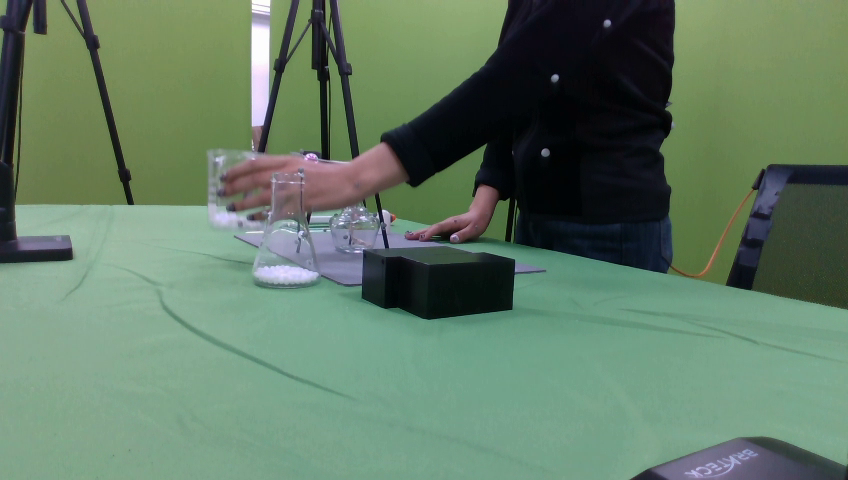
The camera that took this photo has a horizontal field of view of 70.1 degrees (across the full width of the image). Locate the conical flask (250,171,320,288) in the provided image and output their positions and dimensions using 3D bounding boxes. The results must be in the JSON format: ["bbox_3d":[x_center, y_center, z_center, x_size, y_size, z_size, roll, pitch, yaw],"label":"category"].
[{"bbox_3d":[-0.150,-0.013,0.658,0.075,0.122,0.075,2,7,0],"label":"conical flask"}]

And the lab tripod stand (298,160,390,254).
[{"bbox_3d":[-0.111,-0.050,0.893,0.148,0.131,0.148,4,7,0],"label":"lab tripod stand"}]

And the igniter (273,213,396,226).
[{"bbox_3d":[-0.179,-0.044,1.258,0.278,0.025,0.057,-3,-1,-39],"label":"igniter"}]

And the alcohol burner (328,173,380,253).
[{"bbox_3d":[-0.104,-0.041,0.902,0.078,0.119,0.078,0,7,0],"label":"alcohol burner"}]

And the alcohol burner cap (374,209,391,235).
[{"bbox_3d":[-0.078,-0.035,1.148,0.034,0.048,0.034,2,7,0],"label":"alcohol burner cap"}]

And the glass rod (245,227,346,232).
[{"bbox_3d":[-0.237,-0.021,1.141,0.201,0.008,0.008,-2,8,-33],"label":"glass rod"}]

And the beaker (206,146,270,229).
[{"bbox_3d":[-0.240,-0.066,0.769,0.083,0.100,0.074,3,2,28],"label":"beaker"}]

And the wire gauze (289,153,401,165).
[{"bbox_3d":[-0.112,-0.117,0.883,0.124,0.011,0.122,8,8,27],"label":"wire gauze"}]
